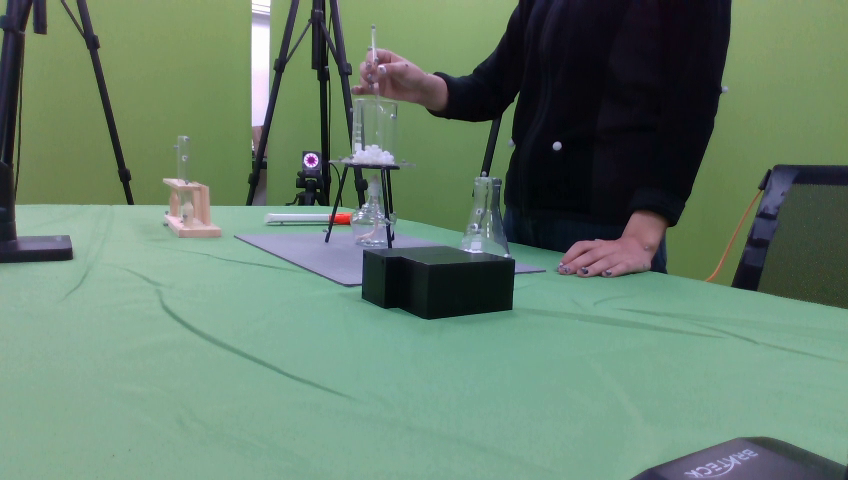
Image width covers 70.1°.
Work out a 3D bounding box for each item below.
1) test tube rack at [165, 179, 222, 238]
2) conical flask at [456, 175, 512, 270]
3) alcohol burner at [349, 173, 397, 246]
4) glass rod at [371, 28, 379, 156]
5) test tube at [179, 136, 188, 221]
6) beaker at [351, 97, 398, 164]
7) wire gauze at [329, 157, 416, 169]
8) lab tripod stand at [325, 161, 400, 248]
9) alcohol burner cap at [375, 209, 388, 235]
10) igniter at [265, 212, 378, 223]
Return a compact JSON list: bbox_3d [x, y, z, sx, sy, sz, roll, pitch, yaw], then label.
[{"bbox_3d":[-0.423,-0.062,1.098,0.067,0.085,0.241,-2,9,-28],"label":"test tube rack"},{"bbox_3d":[0.082,-0.025,0.801,0.075,0.122,0.075,2,7,0],"label":"conical flask"},{"bbox_3d":[-0.081,-0.050,0.982,0.078,0.119,0.078,4,8,0],"label":"alcohol burner"},{"bbox_3d":[-0.077,-0.230,0.938,0.008,0.199,0.008,-2,-1,0],"label":"glass rod"},{"bbox_3d":[-0.425,-0.108,1.070,0.017,0.150,0.017,4,9,0],"label":"test tube"},{"bbox_3d":[-0.078,-0.172,0.962,0.074,0.100,0.084,6,8,19],"label":"beaker"},{"bbox_3d":[-0.079,-0.125,0.972,0.121,0.011,0.125,6,6,5],"label":"wire gauze"},{"bbox_3d":[-0.083,-0.059,0.977,0.148,0.131,0.148,4,8,0],"label":"lab tripod stand"},{"bbox_3d":[-0.076,-0.035,1.145,0.034,0.048,0.034,1,7,0],"label":"alcohol burner cap"},{"bbox_3d":[-0.195,-0.048,1.285,0.278,0.025,0.057,-2,-2,-30],"label":"igniter"}]
